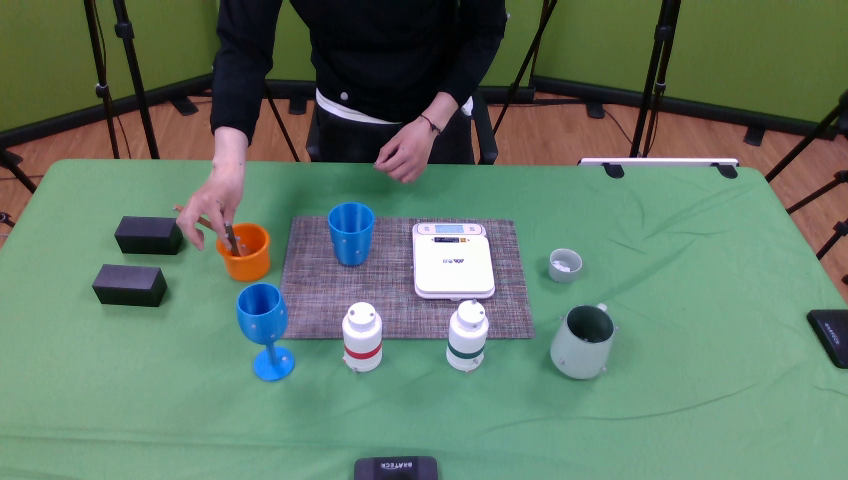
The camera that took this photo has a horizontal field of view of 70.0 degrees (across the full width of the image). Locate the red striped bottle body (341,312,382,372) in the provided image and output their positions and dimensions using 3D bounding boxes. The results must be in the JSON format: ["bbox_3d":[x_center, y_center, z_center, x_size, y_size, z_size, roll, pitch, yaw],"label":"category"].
[{"bbox_3d":[-0.100,0.154,0.972,0.063,0.120,0.062,2,46,-1],"label":"red striped bottle body"}]

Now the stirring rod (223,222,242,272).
[{"bbox_3d":[-0.328,0.015,1.042,0.014,0.177,0.006,25,61,4],"label":"stirring rod"}]

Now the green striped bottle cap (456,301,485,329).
[{"bbox_3d":[0.073,0.116,0.943,0.044,0.020,0.044,3,46,-3],"label":"green striped bottle cap"}]

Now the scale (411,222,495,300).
[{"bbox_3d":[0.052,0.031,1.158,0.149,0.032,0.199,1,46,-4],"label":"scale"}]

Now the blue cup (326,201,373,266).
[{"bbox_3d":[-0.138,-0.007,1.131,0.093,0.101,0.092,3,46,-3],"label":"blue cup"}]

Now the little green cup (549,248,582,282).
[{"bbox_3d":[0.268,0.050,1.156,0.061,0.039,0.061,1,46,-1],"label":"little green cup"}]

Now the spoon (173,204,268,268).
[{"bbox_3d":[-0.363,-0.009,1.089,0.021,0.195,0.041,-31,33,28],"label":"spoon"}]

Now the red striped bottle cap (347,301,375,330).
[{"bbox_3d":[-0.097,0.116,0.934,0.044,0.018,0.044,2,49,-2],"label":"red striped bottle cap"}]

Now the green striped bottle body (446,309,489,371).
[{"bbox_3d":[0.070,0.155,0.984,0.063,0.120,0.063,2,46,-2],"label":"green striped bottle body"}]

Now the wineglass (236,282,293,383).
[{"bbox_3d":[-0.243,0.143,0.934,0.074,0.173,0.073,2,46,-2],"label":"wineglass"}]

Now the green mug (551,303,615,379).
[{"bbox_3d":[0.271,0.157,1.007,0.092,0.105,0.125,27,50,21],"label":"green mug"}]
